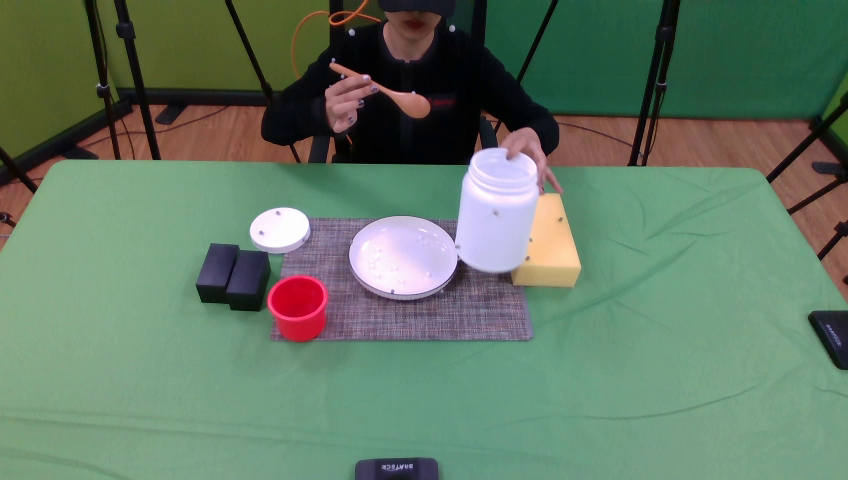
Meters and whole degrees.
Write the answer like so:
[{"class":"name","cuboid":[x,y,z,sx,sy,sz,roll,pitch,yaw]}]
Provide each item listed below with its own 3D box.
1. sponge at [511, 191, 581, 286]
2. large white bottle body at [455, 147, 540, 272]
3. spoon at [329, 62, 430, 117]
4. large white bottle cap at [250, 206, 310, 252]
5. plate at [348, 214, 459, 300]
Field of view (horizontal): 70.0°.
[{"class":"sponge","cuboid":[0.224,-0.007,1.192,0.118,0.061,0.205,1,47,-6]},{"class":"large white bottle body","cuboid":[0.126,-0.053,1.042,0.131,0.185,0.130,3,37,-2]},{"class":"spoon","cuboid":[-0.079,-0.265,1.056,0.193,0.042,0.021,27,31,7]},{"class":"large white bottle cap","cuboid":[-0.284,-0.023,1.198,0.115,0.018,0.114,1,46,0]},{"class":"plate","cuboid":[-0.040,0.034,1.146,0.209,0.038,0.208,2,47,-2]}]
